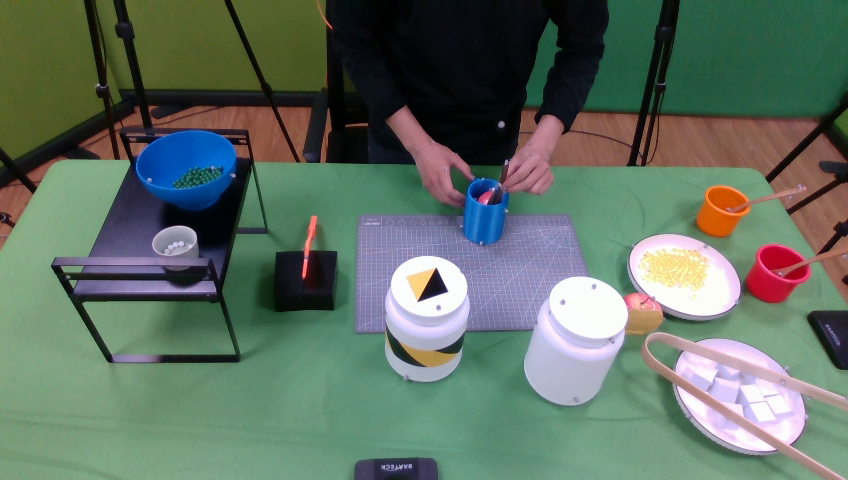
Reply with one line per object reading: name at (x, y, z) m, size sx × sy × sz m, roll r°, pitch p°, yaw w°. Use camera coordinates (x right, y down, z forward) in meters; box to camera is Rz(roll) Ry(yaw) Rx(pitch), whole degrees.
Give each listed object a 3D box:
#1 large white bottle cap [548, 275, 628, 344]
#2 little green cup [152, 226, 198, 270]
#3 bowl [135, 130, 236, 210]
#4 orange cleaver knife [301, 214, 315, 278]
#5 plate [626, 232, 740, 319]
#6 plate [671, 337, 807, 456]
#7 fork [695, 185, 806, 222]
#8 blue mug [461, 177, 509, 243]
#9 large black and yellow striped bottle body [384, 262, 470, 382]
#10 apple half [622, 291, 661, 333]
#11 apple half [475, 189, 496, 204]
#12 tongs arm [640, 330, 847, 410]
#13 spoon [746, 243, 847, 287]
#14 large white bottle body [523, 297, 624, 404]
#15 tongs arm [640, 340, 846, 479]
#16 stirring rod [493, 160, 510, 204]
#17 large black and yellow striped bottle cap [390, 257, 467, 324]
large white bottle cap at (0.240, 0.100, 0.890) m, size 0.115 × 0.018 × 0.114 m, roll 3°, pitch 47°, yaw -3°
little green cup at (-0.364, 0.013, 0.894) m, size 0.061 × 0.039 × 0.061 m, roll 3°, pitch 47°, yaw -3°
bowl at (-0.375, -0.102, 0.978) m, size 0.151 × 0.077 × 0.150 m, roll 2°, pitch 46°, yaw -2°
orange cleaver knife at (-0.218, 0.007, 1.131) m, size 0.012 × 0.077 × 0.210 m, roll 7°, pitch 19°, yaw -9°
plate at (0.488, 0.071, 1.157) m, size 0.209 × 0.038 × 0.208 m, roll 3°, pitch 46°, yaw -3°
plate at (0.504, 0.254, 0.984) m, size 0.208 × 0.039 × 0.206 m, roll 2°, pitch 46°, yaw -2°
fork at (0.658, -0.074, 1.229) m, size 0.207 × 0.019 × 0.028 m, roll -23°, pitch 34°, yaw 37°
blue mug at (0.114, -0.070, 1.211) m, size 0.082 × 0.106 × 0.115 m, roll -11°, pitch 48°, yaw -15°
large black and yellow striped bottle body at (0.002, 0.127, 0.962) m, size 0.131 × 0.185 × 0.130 m, roll 2°, pitch 48°, yaw -2°
apple half at (0.372, 0.123, 1.074) m, size 0.081 × 0.075 × 0.053 m, roll 0°, pitch 42°, yaw 1°
apple half at (0.110, -0.067, 1.195) m, size 0.033 × 0.081 × 0.081 m, roll 26°, pitch 49°, yaw 8°
tongs arm at (0.543, 0.225, 0.969) m, size 0.384 × 0.026 × 0.050 m, roll 22°, pitch 53°, yaw 13°
spoon at (0.702, 0.043, 1.126) m, size 0.194 × 0.022 × 0.041 m, roll -29°, pitch 38°, yaw 30°
large white bottle body at (0.235, 0.159, 0.952) m, size 0.131 × 0.185 × 0.130 m, roll 2°, pitch 47°, yaw -2°
tongs arm at (0.500, 0.277, 0.920) m, size 0.386 × 0.028 × 0.028 m, roll 34°, pitch 60°, yaw 22°
stirring rod at (0.139, -0.083, 1.137) m, size 0.014 × 0.177 × 0.006 m, roll -31°, pitch 59°, yaw -29°
large black and yellow striped bottle cap at (0.007, 0.072, 0.898) m, size 0.115 × 0.019 × 0.114 m, roll 2°, pitch 47°, yaw -2°
